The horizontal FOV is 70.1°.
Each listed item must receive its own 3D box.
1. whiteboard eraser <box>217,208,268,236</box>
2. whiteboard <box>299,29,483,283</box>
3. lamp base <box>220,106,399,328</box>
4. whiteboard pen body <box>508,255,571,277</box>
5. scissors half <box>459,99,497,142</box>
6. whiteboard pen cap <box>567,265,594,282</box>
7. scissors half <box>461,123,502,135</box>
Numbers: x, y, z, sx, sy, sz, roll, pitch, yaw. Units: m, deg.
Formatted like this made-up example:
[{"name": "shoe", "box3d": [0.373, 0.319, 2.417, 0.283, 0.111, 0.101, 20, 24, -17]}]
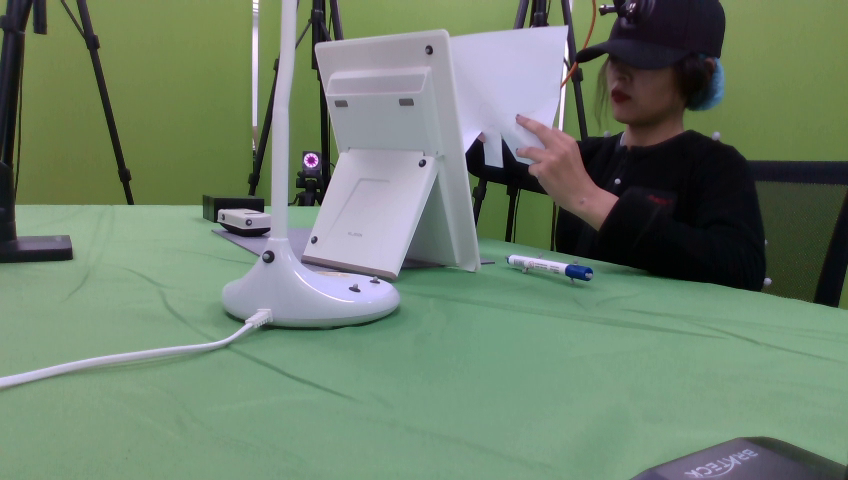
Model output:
[{"name": "whiteboard eraser", "box3d": [-0.309, -0.031, 1.044, 0.056, 0.042, 0.112, -2, 9, -40]}, {"name": "whiteboard", "box3d": [-0.074, -0.082, 0.742, 0.216, 0.305, 0.144, 9, 29, 38]}, {"name": "lamp base", "box3d": [-0.101, -0.023, 0.531, 0.160, 0.180, 0.179, 4, 10, 10]}, {"name": "whiteboard pen body", "box3d": [0.155, 0.034, 0.772, 0.017, 0.017, 0.140, -2, 6, -30]}, {"name": "scissors half", "box3d": [0.094, -0.203, 1.032, 0.013, 0.040, 0.174, 32, 21, -31]}, {"name": "whiteboard pen cap", "box3d": [0.185, 0.040, 0.722, 0.018, 0.018, 0.033, -2, 6, -33]}, {"name": "scissors half", "box3d": [0.081, -0.185, 1.035, 0.013, 0.040, 0.174, 26, -5, -30]}]
